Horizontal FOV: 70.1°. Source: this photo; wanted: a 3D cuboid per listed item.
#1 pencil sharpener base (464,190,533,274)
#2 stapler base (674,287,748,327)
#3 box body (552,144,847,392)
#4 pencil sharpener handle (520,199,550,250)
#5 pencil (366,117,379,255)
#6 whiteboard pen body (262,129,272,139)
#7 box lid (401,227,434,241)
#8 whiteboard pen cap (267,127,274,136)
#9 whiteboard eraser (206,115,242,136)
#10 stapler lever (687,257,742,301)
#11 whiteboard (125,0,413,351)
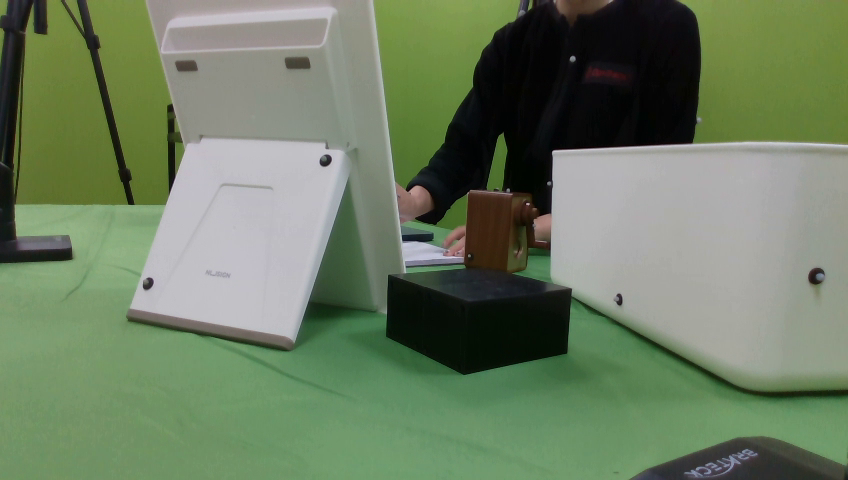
[{"bbox_3d":[0.102,-0.012,0.813,0.076,0.107,0.061,8,9,36],"label":"pencil sharpener base"},{"bbox_3d":[0.281,0.061,0.586,0.041,0.024,0.131,11,8,37],"label":"stapler base"},{"bbox_3d":[0.290,0.002,0.549,0.255,0.160,0.363,2,7,-10],"label":"box body"},{"bbox_3d":[0.147,-0.019,0.785,0.030,0.068,0.036,8,25,36],"label":"pencil sharpener handle"},{"bbox_3d":[-0.071,-0.075,0.841,0.012,0.194,0.012,-3,-2,0],"label":"pencil"},{"bbox_3d":[-0.361,-0.245,1.393,0.017,0.017,0.140,0,5,-20],"label":"whiteboard pen body"},{"bbox_3d":[-0.196,-0.015,1.105,0.373,0.015,0.262,-1,7,-32],"label":"box lid"},{"bbox_3d":[-0.340,-0.239,1.337,0.018,0.018,0.033,1,-1,-14],"label":"whiteboard pen cap"},{"bbox_3d":[-0.438,-0.249,1.320,0.056,0.042,0.112,-3,9,-30],"label":"whiteboard eraser"},{"bbox_3d":[0.283,0.035,0.585,0.026,0.040,0.119,11,8,37],"label":"stapler lever"},{"bbox_3d":[-0.151,-0.050,0.471,0.216,0.305,0.144,6,27,24],"label":"whiteboard"}]
